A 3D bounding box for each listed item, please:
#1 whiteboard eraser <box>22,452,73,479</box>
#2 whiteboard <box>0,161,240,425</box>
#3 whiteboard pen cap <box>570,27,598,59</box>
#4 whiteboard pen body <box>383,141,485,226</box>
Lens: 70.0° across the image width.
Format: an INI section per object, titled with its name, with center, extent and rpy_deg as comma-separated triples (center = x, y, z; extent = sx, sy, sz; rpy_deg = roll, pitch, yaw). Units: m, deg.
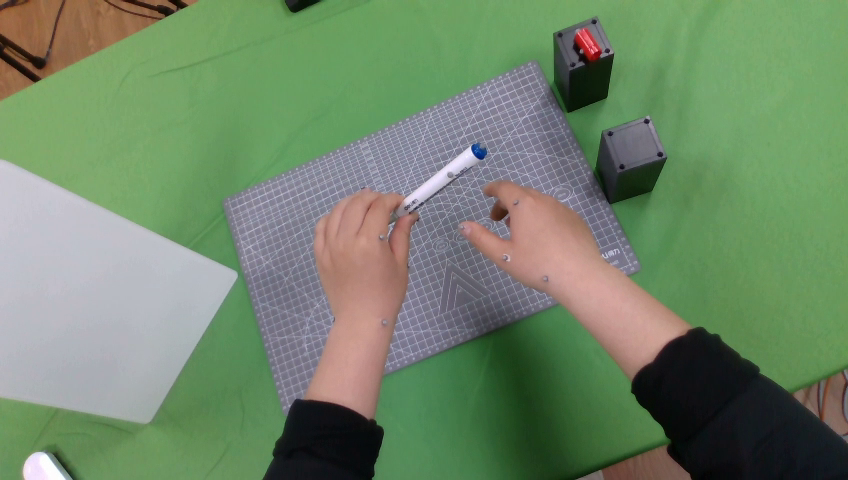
[whiteboard eraser]
center = -0.459, 0.305, 0.748
extent = 0.100, 0.019, 0.041
rpy_deg = 39, 85, 17
[whiteboard]
center = -0.410, 0.057, 0.686
extent = 0.142, 0.309, 0.217
rpy_deg = 24, 81, 37
[whiteboard pen cap]
center = 0.171, -0.210, 0.646
extent = 0.017, 0.017, 0.032
rpy_deg = -29, 73, 4
[whiteboard pen body]
center = 0.004, -0.046, 0.551
extent = 0.140, 0.017, 0.016
rpy_deg = -36, 66, 40
